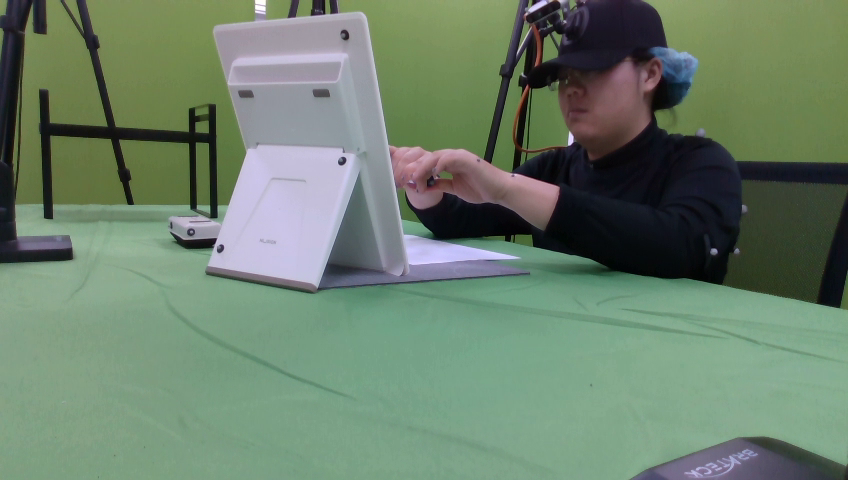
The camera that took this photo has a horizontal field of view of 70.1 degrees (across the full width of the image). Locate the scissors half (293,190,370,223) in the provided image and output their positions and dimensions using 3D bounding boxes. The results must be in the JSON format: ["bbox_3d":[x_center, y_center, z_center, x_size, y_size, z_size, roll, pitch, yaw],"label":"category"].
[{"bbox_3d":[-0.205,-0.077,1.338,0.175,0.040,0.013,22,11,-8],"label":"scissors half"}]

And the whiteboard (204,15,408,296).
[{"bbox_3d":[-0.166,-0.072,0.669,0.216,0.305,0.144,8,30,30],"label":"whiteboard"}]

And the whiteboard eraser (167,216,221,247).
[{"bbox_3d":[-0.350,-0.013,0.920,0.056,0.042,0.112,0,7,-35],"label":"whiteboard eraser"}]

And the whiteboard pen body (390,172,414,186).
[{"bbox_3d":[-0.041,-0.092,0.901,0.017,0.017,0.140,-4,13,-41],"label":"whiteboard pen body"}]

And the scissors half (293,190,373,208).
[{"bbox_3d":[-0.201,-0.096,1.333,0.175,0.040,0.013,5,18,-4],"label":"scissors half"}]

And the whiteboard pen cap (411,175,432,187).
[{"bbox_3d":[-0.005,-0.083,0.857,0.018,0.018,0.033,-3,5,-39],"label":"whiteboard pen cap"}]
